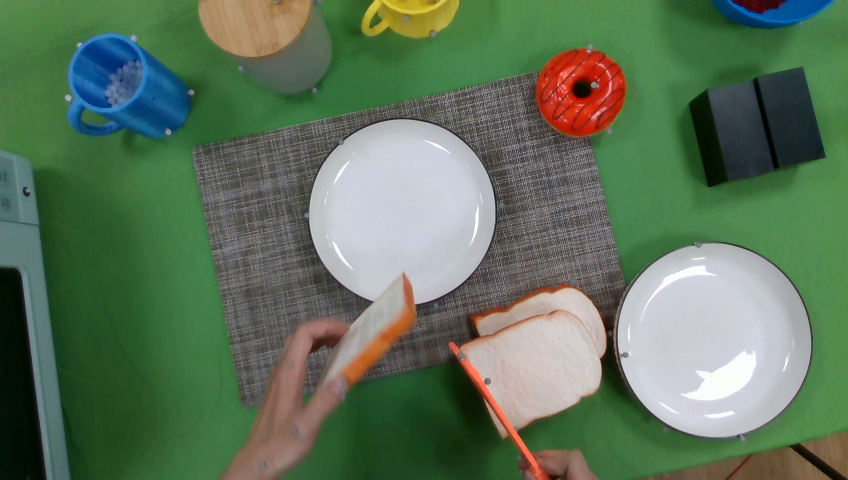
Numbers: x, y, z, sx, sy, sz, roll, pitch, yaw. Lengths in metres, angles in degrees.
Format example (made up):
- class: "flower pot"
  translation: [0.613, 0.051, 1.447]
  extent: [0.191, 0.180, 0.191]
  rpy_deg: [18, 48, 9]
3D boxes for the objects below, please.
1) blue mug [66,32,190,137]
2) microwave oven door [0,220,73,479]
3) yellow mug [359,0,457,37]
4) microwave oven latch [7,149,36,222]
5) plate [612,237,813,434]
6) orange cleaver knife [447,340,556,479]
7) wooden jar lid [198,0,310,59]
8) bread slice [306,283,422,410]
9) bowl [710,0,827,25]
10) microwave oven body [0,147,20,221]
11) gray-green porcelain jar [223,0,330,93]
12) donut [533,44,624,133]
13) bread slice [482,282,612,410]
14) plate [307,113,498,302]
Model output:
- class: "blue mug"
  translation: [-0.328, -0.154, 0.658]
  extent: [0.116, 0.106, 0.082]
  rpy_deg: [-38, 86, 0]
- class: "microwave oven door"
  translation: [-0.427, 0.151, 0.559]
  extent: [0.039, 0.244, 0.355]
  rpy_deg: [-10, 86, 2]
- class: "yellow mug"
  translation: [-0.023, -0.277, 0.675]
  extent: [0.131, 0.064, 0.100]
  rpy_deg: [-44, 86, 0]
- class: "microwave oven latch"
  translation: [-0.456, -0.059, 0.673]
  extent: [0.030, 0.029, 0.079]
  rpy_deg: [-9, 87, 1]
- class: "plate"
  translation: [0.307, 0.101, 0.658]
  extent: [0.209, 0.038, 0.208]
  rpy_deg: [0, 87, 2]
- class: "orange cleaver knife"
  translation: [0.086, 0.184, 0.581]
  extent: [0.012, 0.077, 0.212]
  rpy_deg: [-36, 99, -8]
- class: "wooden jar lid"
  translation: [-0.162, -0.226, 0.584]
  extent: [0.108, 0.021, 0.108]
  rpy_deg: [0, 85, 3]
- class: "bread slice"
  translation: [-0.057, 0.100, 0.562]
  extent: [0.131, 0.104, 0.019]
  rpy_deg: [-42, 104, 4]
- class: "bowl"
  translation: [0.363, -0.296, 0.657]
  extent: [0.151, 0.077, 0.151]
  rpy_deg: [0, 87, 2]
- class: "microwave oven body"
  translation: [-0.578, 0.132, 0.570]
  extent: [0.326, 0.260, 0.441]
  rpy_deg: [-9, 87, 1]
- class: "gray-green porcelain jar"
  translation: [-0.159, -0.221, 0.646]
  extent: [0.106, 0.126, 0.105]
  rpy_deg: [0, 86, 2]
- class: "donut"
  translation: [0.170, -0.167, 0.670]
  extent: [0.099, 0.048, 0.099]
  rpy_deg: [0, 88, 1]
- class: "bread slice"
  translation: [0.137, 0.103, 0.631]
  extent: [0.134, 0.018, 0.106]
  rpy_deg: [-18, 83, -27]
- class: "plate"
  translation: [-0.023, -0.035, 0.672]
  extent: [0.207, 0.039, 0.207]
  rpy_deg: [0, 87, 2]
